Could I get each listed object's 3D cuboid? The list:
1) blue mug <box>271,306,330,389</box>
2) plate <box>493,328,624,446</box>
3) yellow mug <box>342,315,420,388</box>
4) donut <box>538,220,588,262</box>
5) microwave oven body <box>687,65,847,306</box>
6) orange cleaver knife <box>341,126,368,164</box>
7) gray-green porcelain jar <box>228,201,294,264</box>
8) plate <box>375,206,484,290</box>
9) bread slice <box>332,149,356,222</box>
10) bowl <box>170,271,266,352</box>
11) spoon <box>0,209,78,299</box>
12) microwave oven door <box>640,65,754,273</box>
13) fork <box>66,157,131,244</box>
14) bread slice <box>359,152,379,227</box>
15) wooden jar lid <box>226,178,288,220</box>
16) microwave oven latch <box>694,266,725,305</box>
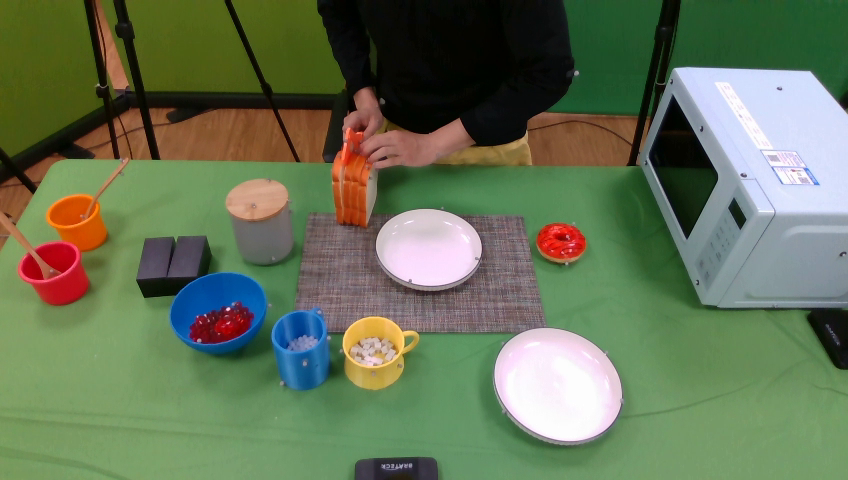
[{"bbox_3d":[-0.188,0.163,0.969,0.082,0.106,0.116,15,47,10],"label":"blue mug"},{"bbox_3d":[0.213,0.236,0.974,0.208,0.039,0.206,2,46,-2],"label":"plate"},{"bbox_3d":[-0.068,0.177,0.990,0.131,0.064,0.099,-15,50,-19],"label":"yellow mug"},{"bbox_3d":[0.273,0.000,1.198,0.099,0.048,0.098,1,47,0],"label":"donut"},{"bbox_3d":[0.669,-0.111,1.176,0.326,0.261,0.439,0,46,-3],"label":"microwave oven body"},{"bbox_3d":[-0.141,-0.195,1.229,0.012,0.077,0.211,9,14,3],"label":"orange cleaver knife"},{"bbox_3d":[-0.299,-0.027,1.126,0.106,0.127,0.105,2,46,-2],"label":"gray-green porcelain jar"},{"bbox_3d":[0.009,0.019,1.160,0.209,0.038,0.208,2,47,-2],"label":"plate"},{"bbox_3d":[-0.161,-0.118,1.217,0.019,0.132,0.104,3,41,8],"label":"bread slice"},{"bbox_3d":[-0.333,0.132,1.006,0.151,0.077,0.150,2,46,-2],"label":"bowl"},{"bbox_3d":[-0.668,0.021,1.040,0.041,0.021,0.194,-41,105,-30],"label":"spoon"},{"bbox_3d":[0.523,-0.147,1.193,0.039,0.245,0.353,0,47,-3],"label":"microwave oven door"},{"bbox_3d":[-0.608,-0.074,1.132,0.207,0.019,0.028,-52,48,10],"label":"fork"},{"bbox_3d":[-0.110,-0.106,1.212,0.018,0.135,0.106,10,46,5],"label":"bread slice"},{"bbox_3d":[-0.296,-0.070,1.081,0.108,0.021,0.107,1,45,0],"label":"wooden jar lid"},{"bbox_3d":[0.523,0.082,1.115,0.030,0.029,0.078,3,46,0],"label":"microwave oven latch"}]
